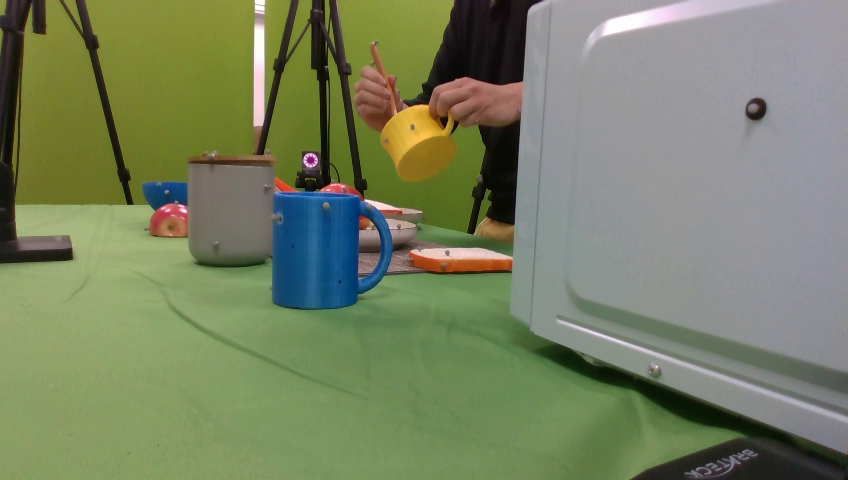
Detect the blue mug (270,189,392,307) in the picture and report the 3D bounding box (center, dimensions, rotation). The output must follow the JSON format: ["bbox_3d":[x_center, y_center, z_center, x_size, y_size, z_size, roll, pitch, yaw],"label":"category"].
[{"bbox_3d":[-0.090,0.005,0.588,0.117,0.106,0.082,1,7,-11],"label":"blue mug"}]

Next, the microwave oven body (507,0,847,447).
[{"bbox_3d":[0.331,-0.042,0.425,0.444,0.260,0.324,-2,8,-31],"label":"microwave oven body"}]

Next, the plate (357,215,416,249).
[{"bbox_3d":[-0.116,-0.014,0.967,0.208,0.039,0.207,2,7,0],"label":"plate"}]

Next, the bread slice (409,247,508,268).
[{"bbox_3d":[0.048,0.022,0.816,0.132,0.019,0.104,1,6,-24],"label":"bread slice"}]

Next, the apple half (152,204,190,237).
[{"bbox_3d":[-0.415,-0.034,1.017,0.081,0.053,0.074,1,10,-9],"label":"apple half"}]

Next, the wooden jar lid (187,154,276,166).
[{"bbox_3d":[-0.244,-0.097,0.771,0.108,0.020,0.108,-1,7,0],"label":"wooden jar lid"}]

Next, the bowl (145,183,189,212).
[{"bbox_3d":[-0.459,-0.068,1.175,0.151,0.077,0.151,2,7,0],"label":"bowl"}]

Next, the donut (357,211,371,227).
[{"bbox_3d":[-0.132,-0.041,0.959,0.099,0.048,0.099,3,7,0],"label":"donut"}]

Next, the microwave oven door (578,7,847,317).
[{"bbox_3d":[0.294,-0.067,0.570,0.358,0.243,0.039,-3,9,-31],"label":"microwave oven door"}]

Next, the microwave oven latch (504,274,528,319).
[{"bbox_3d":[0.100,0.041,0.471,0.079,0.029,0.030,-1,7,-28],"label":"microwave oven latch"}]

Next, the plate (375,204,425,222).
[{"bbox_3d":[-0.102,-0.053,1.299,0.209,0.038,0.209,2,8,0],"label":"plate"}]

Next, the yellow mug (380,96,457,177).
[{"bbox_3d":[0.000,-0.161,0.906,0.100,0.064,0.130,1,-37,-46],"label":"yellow mug"}]

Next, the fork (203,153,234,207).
[{"bbox_3d":[-0.480,-0.135,1.411,0.028,0.018,0.207,1,-34,0],"label":"fork"}]

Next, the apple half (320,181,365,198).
[{"bbox_3d":[-0.130,-0.077,0.951,0.081,0.033,0.081,3,13,0],"label":"apple half"}]

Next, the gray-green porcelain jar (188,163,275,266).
[{"bbox_3d":[-0.246,-0.034,0.780,0.106,0.126,0.106,2,7,0],"label":"gray-green porcelain jar"}]

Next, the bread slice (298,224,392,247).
[{"bbox_3d":[-0.120,-0.009,0.970,0.106,0.018,0.135,6,12,41],"label":"bread slice"}]

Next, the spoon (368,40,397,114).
[{"bbox_3d":[-0.053,-0.214,0.928,0.022,0.193,0.041,-13,-4,-34],"label":"spoon"}]

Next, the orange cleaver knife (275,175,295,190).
[{"bbox_3d":[-0.283,-0.087,1.343,0.212,0.077,0.012,24,-16,-41],"label":"orange cleaver knife"}]
